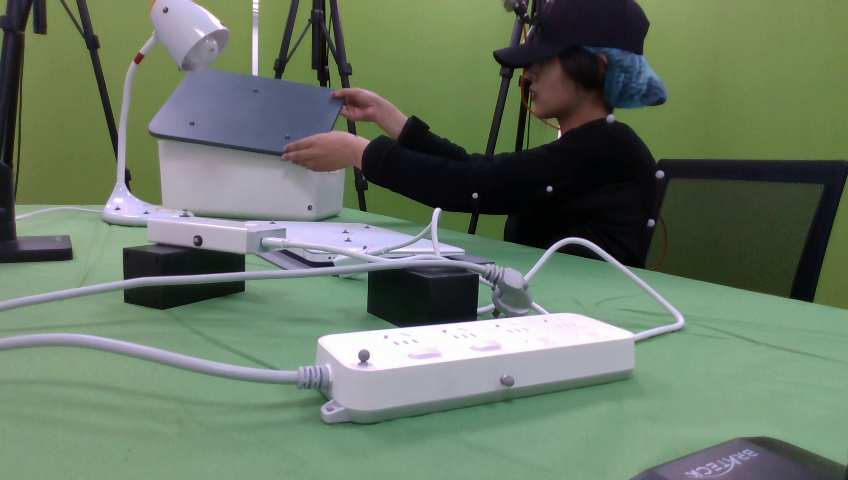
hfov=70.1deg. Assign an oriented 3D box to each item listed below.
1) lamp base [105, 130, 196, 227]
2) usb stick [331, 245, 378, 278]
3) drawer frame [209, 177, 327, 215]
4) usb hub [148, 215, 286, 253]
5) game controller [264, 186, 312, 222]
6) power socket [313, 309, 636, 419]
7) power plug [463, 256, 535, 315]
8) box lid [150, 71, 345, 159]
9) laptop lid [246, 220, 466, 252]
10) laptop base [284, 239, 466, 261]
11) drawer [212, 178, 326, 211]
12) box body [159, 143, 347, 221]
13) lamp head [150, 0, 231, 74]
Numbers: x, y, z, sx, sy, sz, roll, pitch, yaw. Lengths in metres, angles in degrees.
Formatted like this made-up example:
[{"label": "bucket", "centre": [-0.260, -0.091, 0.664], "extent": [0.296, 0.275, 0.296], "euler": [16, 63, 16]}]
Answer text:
[{"label": "lamp base", "centre": [-0.532, -0.120, 1.153], "extent": [0.179, 0.180, 0.161], "euler": [1, 7, 8]}, {"label": "usb stick", "centre": [-0.085, 0.026, 0.701], "extent": [0.059, 0.027, 0.021], "euler": [-18, 19, 27]}, {"label": "drawer frame", "centre": [-0.350, -0.103, 1.392], "extent": [0.213, 0.082, 0.201], "euler": [1, 6, 3]}, {"label": "usb hub", "centre": [-0.197, -0.006, 0.575], "extent": [0.125, 0.025, 0.050], "euler": [6, 7, 22]}, {"label": "game controller", "centre": [-0.307, -0.090, 1.396], "extent": [0.097, 0.051, 0.155], "euler": [31, 6, -2]}, {"label": "power socket", "centre": [0.039, 0.072, 0.385], "extent": [0.228, 0.032, 0.072], "euler": [-2, 7, -28]}, {"label": "power plug", "centre": [0.064, 0.039, 0.530], "extent": [0.072, 0.052, 0.035], "euler": [31, 43, 7]}, {"label": "box lid", "centre": [-0.375, -0.280, 1.331], "extent": [0.371, 0.015, 0.263], "euler": [8, 46, 3]}, {"label": "laptop lid", "centre": [-0.123, -0.009, 0.945], "extent": [0.243, 0.013, 0.355], "euler": [1, 7, -29]}, {"label": "laptop base", "centre": [-0.125, 0.002, 0.945], "extent": [0.237, 0.023, 0.352], "euler": [2, 6, -31]}, {"label": "drawer", "centre": [-0.349, -0.106, 1.394], "extent": [0.212, 0.073, 0.194], "euler": [2, 4, 4]}, {"label": "box body", "centre": [-0.384, -0.137, 1.406], "extent": [0.364, 0.160, 0.254], "euler": [3, 8, 8]}, {"label": "lamp head", "centre": [-0.432, -0.374, 1.086], "extent": [0.123, 0.112, 0.112], "euler": [42, 8, -2]}]
